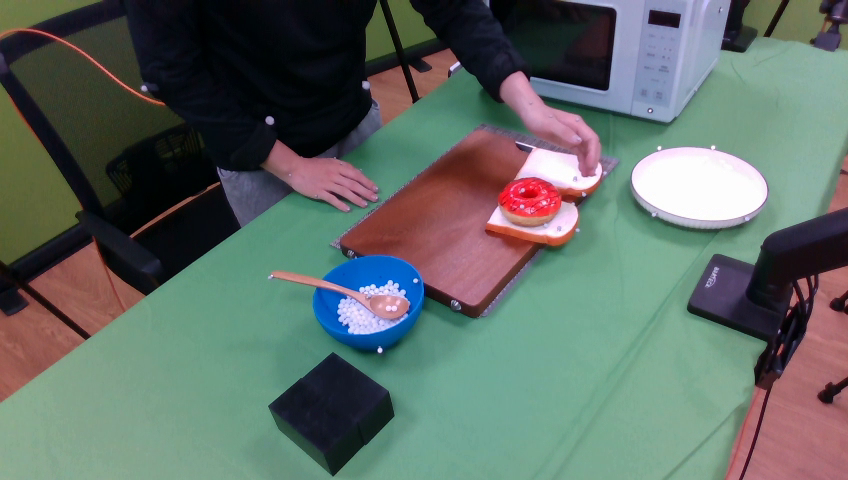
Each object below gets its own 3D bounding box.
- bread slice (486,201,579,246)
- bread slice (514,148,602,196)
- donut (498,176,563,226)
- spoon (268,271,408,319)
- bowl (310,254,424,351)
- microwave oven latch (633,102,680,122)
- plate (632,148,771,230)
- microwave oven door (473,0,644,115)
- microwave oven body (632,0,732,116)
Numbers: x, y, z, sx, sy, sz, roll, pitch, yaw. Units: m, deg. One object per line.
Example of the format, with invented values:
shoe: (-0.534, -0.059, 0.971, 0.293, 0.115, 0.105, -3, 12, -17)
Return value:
bread slice: (0.176, -0.037, 0.946, 0.131, 0.019, 0.105, 15, 47, 24)
bread slice: (0.232, -0.114, 1.027, 0.133, 0.018, 0.107, 13, 45, 20)
donut: (0.164, -0.059, 0.928, 0.099, 0.048, 0.098, -4, 40, 4)
spoon: (-0.116, 0.069, 0.813, 0.194, 0.021, 0.041, 18, 39, 1)
bowl: (-0.071, 0.098, 0.821, 0.151, 0.077, 0.150, -4, 40, 4)
microwave oven latch: (0.444, -0.249, 1.158, 0.078, 0.029, 0.030, 22, 49, 30)
plate: (0.447, -0.081, 0.988, 0.207, 0.039, 0.206, -4, 40, 4)
microwave oven door: (0.257, -0.396, 1.199, 0.353, 0.245, 0.039, 21, 48, 29)
microwave oven body: (0.377, -0.463, 1.267, 0.438, 0.261, 0.327, 21, 49, 30)
